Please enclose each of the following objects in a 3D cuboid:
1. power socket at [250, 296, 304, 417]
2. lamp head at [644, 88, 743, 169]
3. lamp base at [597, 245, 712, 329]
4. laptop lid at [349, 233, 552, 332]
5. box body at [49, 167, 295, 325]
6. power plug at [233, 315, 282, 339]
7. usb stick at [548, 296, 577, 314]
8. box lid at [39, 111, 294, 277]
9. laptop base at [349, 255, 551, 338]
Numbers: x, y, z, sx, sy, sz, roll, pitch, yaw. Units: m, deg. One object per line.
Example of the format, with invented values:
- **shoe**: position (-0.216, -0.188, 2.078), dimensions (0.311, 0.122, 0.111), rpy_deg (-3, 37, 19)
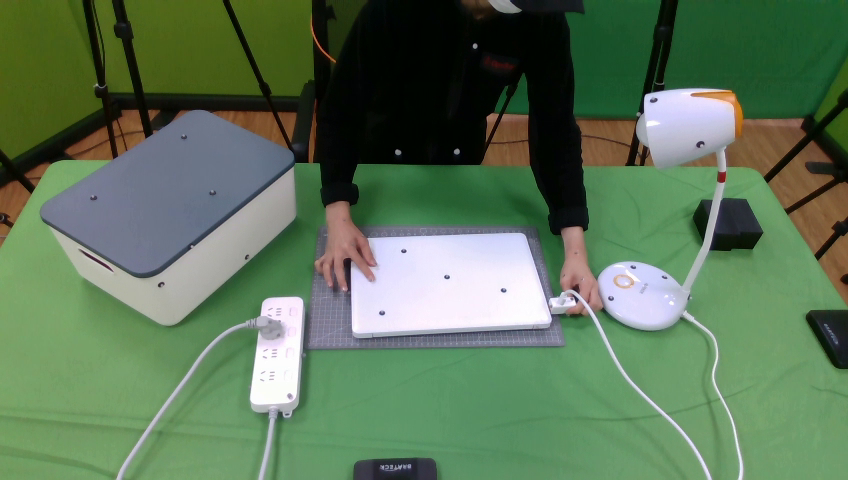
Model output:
- **power socket**: position (-0.239, 0.182, 0.996), dimensions (0.072, 0.033, 0.225), rpy_deg (-2, 47, -5)
- **lamp head**: position (0.380, -0.161, 0.851), dimensions (0.122, 0.113, 0.112), rpy_deg (-4, 42, 25)
- **lamp base**: position (0.418, 0.051, 1.072), dimensions (0.179, 0.181, 0.160), rpy_deg (22, 49, 13)
- **laptop lid**: position (0.040, 0.071, 1.120), dimensions (0.357, 0.013, 0.240), rpy_deg (-1, 44, -5)
- **box body**: position (-0.437, -0.046, 1.110), dimensions (0.253, 0.161, 0.363), rpy_deg (24, 49, 19)
- **power plug**: position (-0.271, 0.144, 1.000), dimensions (0.072, 0.053, 0.035), rpy_deg (5, 46, 3)
- **usb stick**: position (0.242, 0.117, 1.089), dimensions (0.059, 0.027, 0.021), rpy_deg (-6, 56, -5)
- **box lid**: position (-0.434, -0.097, 1.055), dimensions (0.262, 0.015, 0.370), rpy_deg (25, 49, 18)
- **laptop base**: position (0.040, 0.080, 1.126), dimensions (0.355, 0.023, 0.234), rpy_deg (-2, 43, -6)
